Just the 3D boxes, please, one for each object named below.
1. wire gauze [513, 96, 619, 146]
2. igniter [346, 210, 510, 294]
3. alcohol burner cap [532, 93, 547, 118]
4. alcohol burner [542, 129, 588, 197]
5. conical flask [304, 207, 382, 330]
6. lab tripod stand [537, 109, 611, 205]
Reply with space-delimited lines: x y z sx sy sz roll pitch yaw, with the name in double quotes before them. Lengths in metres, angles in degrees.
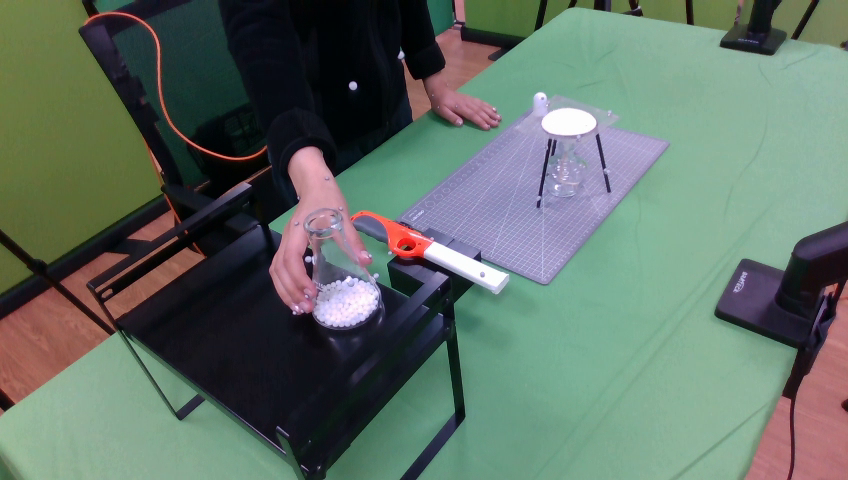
"wire gauze" 0.229 -0.190 0.969 0.120 0.011 0.125 26 50 33
"igniter" -0.002 0.011 0.884 0.274 0.025 0.057 24 53 28
"alcohol burner cap" 0.240 -0.281 1.251 0.034 0.048 0.033 -4 42 4
"alcohol burner" 0.239 -0.133 1.021 0.078 0.119 0.077 -4 38 4
"conical flask" -0.088 0.025 0.601 0.075 0.122 0.075 -5 41 5
"lab tripod stand" 0.244 -0.141 1.014 0.148 0.132 0.147 -3 39 3
